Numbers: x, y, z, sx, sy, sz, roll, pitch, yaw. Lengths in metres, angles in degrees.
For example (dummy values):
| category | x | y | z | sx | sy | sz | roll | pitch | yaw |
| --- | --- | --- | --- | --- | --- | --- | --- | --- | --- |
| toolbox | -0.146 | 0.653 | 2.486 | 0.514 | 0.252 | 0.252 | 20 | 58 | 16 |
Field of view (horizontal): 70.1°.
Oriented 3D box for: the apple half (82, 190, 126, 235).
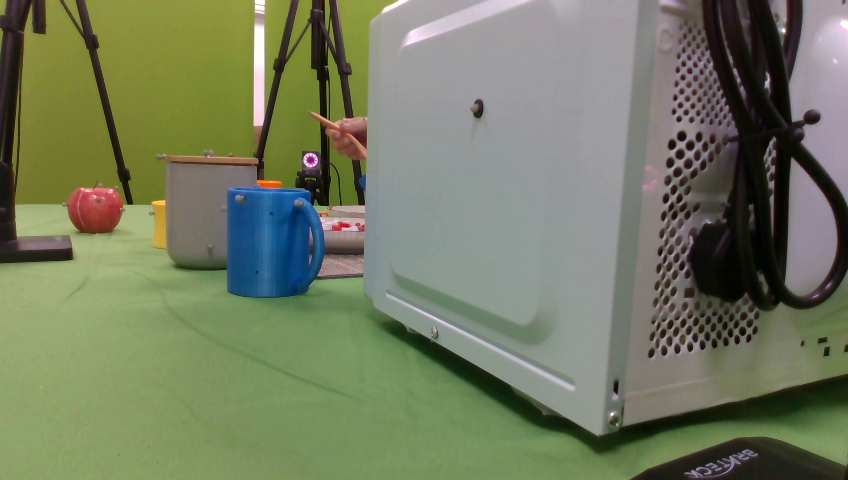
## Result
| category | x | y | z | sx | sy | sz | roll | pitch | yaw |
| --- | --- | --- | --- | --- | --- | --- | --- | --- | --- |
| apple half | -0.516 | -0.046 | 0.994 | 0.032 | 0.081 | 0.081 | 0 | 6 | 26 |

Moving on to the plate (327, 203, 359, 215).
| category | x | y | z | sx | sy | sz | roll | pitch | yaw |
| --- | --- | --- | --- | --- | --- | --- | --- | --- | --- |
| plate | -0.102 | -0.053 | 1.299 | 0.209 | 0.038 | 0.209 | 2 | 8 | 0 |

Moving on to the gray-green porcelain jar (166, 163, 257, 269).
| category | x | y | z | sx | sy | sz | roll | pitch | yaw |
| --- | --- | --- | --- | --- | --- | --- | --- | --- | --- |
| gray-green porcelain jar | -0.263 | -0.031 | 0.754 | 0.106 | 0.126 | 0.106 | 2 | 7 | 0 |

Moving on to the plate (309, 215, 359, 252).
| category | x | y | z | sx | sy | sz | roll | pitch | yaw |
| --- | --- | --- | --- | --- | --- | --- | --- | --- | --- |
| plate | -0.130 | -0.011 | 0.945 | 0.208 | 0.039 | 0.207 | 2 | 8 | 0 |

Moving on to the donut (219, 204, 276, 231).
| category | x | y | z | sx | sy | sz | roll | pitch | yaw |
| --- | --- | --- | --- | --- | --- | --- | --- | --- | --- |
| donut | -0.316 | -0.039 | 1.083 | 0.099 | 0.048 | 0.099 | 3 | 7 | 0 |

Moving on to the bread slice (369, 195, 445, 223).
| category | x | y | z | sx | sy | sz | roll | pitch | yaw |
| --- | --- | --- | --- | --- | --- | --- | --- | --- | --- |
| bread slice | -0.040 | -0.057 | 1.142 | 0.107 | 0.018 | 0.133 | -9 | -8 | -40 |

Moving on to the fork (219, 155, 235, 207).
| category | x | y | z | sx | sy | sz | roll | pitch | yaw |
| --- | --- | --- | --- | --- | --- | --- | --- | --- | --- |
| fork | -0.459 | -0.134 | 1.415 | 0.028 | 0.018 | 0.207 | -1 | -34 | -25 |

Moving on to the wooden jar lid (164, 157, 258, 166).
| category | x | y | z | sx | sy | sz | roll | pitch | yaw |
| --- | --- | --- | --- | --- | --- | --- | --- | --- | --- |
| wooden jar lid | -0.261 | -0.093 | 0.746 | 0.108 | 0.020 | 0.108 | 0 | 9 | 0 |

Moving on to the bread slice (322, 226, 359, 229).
| category | x | y | z | sx | sy | sz | roll | pitch | yaw |
| --- | --- | --- | --- | --- | --- | --- | --- | --- | --- |
| bread slice | -0.124 | -0.008 | 0.938 | 0.131 | 0.019 | 0.105 | 4 | 8 | 32 |

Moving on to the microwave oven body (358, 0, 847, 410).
| category | x | y | z | sx | sy | sz | roll | pitch | yaw |
| --- | --- | --- | --- | --- | --- | --- | --- | --- | --- |
| microwave oven body | 0.210 | -0.051 | 0.471 | 0.444 | 0.260 | 0.324 | -1 | 7 | -28 |

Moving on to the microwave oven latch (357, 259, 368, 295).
| category | x | y | z | sx | sy | sz | roll | pitch | yaw |
| --- | --- | --- | --- | --- | --- | --- | --- | --- | --- |
| microwave oven latch | -0.019 | 0.031 | 0.529 | 0.079 | 0.029 | 0.030 | -1 | 7 | -26 |

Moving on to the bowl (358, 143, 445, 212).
| category | x | y | z | sx | sy | sz | roll | pitch | yaw |
| --- | --- | --- | --- | --- | --- | --- | --- | --- | --- |
| bowl | -0.026 | -0.097 | 1.011 | 0.151 | 0.077 | 0.151 | -22 | 0 | 0 |

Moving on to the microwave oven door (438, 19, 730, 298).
| category | x | y | z | sx | sy | sz | roll | pitch | yaw |
| --- | --- | --- | --- | --- | --- | --- | --- | --- | --- |
| microwave oven door | 0.181 | -0.076 | 0.618 | 0.358 | 0.243 | 0.039 | -2 | 8 | -28 |

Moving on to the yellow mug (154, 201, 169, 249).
| category | x | y | z | sx | sy | sz | roll | pitch | yaw |
| --- | --- | --- | --- | --- | --- | --- | --- | --- | --- |
| yellow mug | -0.337 | -0.022 | 0.899 | 0.130 | 0.064 | 0.100 | 7 | 9 | 34 |

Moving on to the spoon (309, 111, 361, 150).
| category | x | y | z | sx | sy | sz | roll | pitch | yaw |
| --- | --- | --- | --- | --- | --- | --- | --- | --- | --- |
| spoon | -0.126 | -0.174 | 1.030 | 0.193 | 0.021 | 0.042 | 39 | 20 | 21 |

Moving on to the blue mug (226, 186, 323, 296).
| category | x | y | z | sx | sy | sz | roll | pitch | yaw |
| --- | --- | --- | --- | --- | --- | --- | --- | --- | --- |
| blue mug | -0.148 | 0.000 | 0.618 | 0.116 | 0.106 | 0.083 | 7 | 9 | 33 |

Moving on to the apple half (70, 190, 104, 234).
| category | x | y | z | sx | sy | sz | roll | pitch | yaw |
| --- | --- | --- | --- | --- | --- | --- | --- | --- | --- |
| apple half | -0.552 | -0.047 | 1.010 | 0.053 | 0.074 | 0.081 | 0 | 10 | 26 |

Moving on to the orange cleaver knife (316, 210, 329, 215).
| category | x | y | z | sx | sy | sz | roll | pitch | yaw |
| --- | --- | --- | --- | --- | --- | --- | --- | --- | --- |
| orange cleaver knife | -0.259 | -0.064 | 1.423 | 0.212 | 0.012 | 0.077 | -4 | 3 | -30 |
